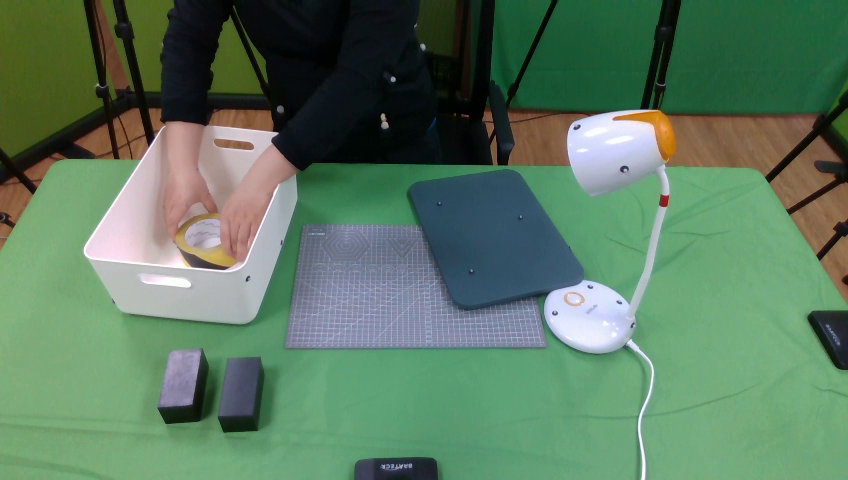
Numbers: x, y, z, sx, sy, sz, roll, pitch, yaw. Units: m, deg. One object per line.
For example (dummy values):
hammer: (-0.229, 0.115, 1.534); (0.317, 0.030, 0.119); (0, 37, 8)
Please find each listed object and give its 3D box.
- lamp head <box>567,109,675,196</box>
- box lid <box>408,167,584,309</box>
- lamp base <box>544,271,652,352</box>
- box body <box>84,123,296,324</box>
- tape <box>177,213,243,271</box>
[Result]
lamp head: (0.272, -0.123, 0.818); (0.122, 0.113, 0.112); (-9, 35, 37)
box lid: (0.133, -0.018, 1.224); (0.263, 0.015, 0.369); (-11, 45, -12)
lamp base: (0.310, 0.086, 1.029); (0.178, 0.181, 0.160); (32, 52, 21)
box body: (-0.392, -0.035, 1.104); (0.254, 0.161, 0.362); (5, 46, 1)
tape: (-0.400, 0.006, 1.134); (0.117, 0.053, 0.116); (1, 44, -1)
